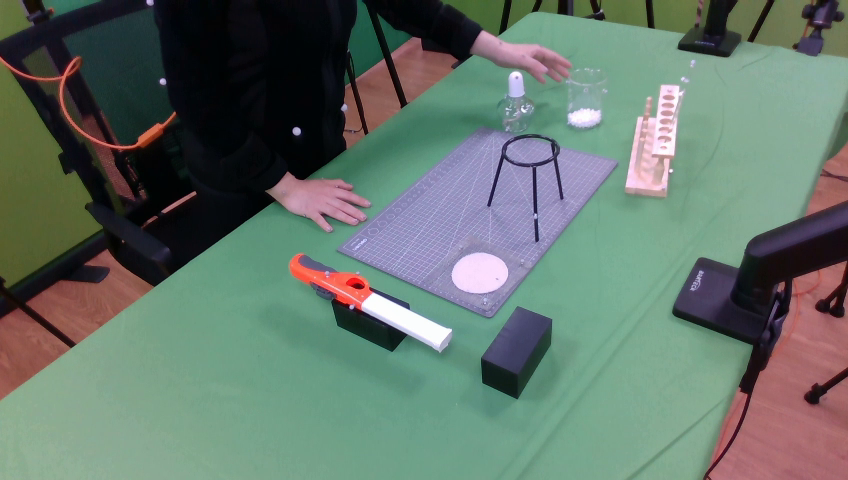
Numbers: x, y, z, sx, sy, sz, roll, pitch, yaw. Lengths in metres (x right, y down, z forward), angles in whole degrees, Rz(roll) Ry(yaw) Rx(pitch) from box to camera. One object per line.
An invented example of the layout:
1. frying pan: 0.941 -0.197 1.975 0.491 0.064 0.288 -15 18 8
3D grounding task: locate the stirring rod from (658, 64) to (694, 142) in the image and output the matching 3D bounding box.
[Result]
1. stirring rod: 0.409 -0.213 1.000 0.006 0.176 0.014 36 57 25

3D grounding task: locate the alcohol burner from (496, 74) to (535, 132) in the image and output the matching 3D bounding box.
1. alcohol burner: 0.184 -0.278 1.210 0.078 0.119 0.077 -3 42 3

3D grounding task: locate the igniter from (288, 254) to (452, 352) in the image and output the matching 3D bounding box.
1. igniter: -0.083 0.079 0.818 0.274 0.025 0.057 23 46 27

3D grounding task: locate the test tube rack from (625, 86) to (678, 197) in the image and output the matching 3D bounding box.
1. test tube rack: 0.412 -0.184 1.088 0.066 0.085 0.242 9 43 18

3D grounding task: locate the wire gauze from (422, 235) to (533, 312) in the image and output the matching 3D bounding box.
1. wire gauze: 0.081 0.049 0.914 0.120 0.011 0.125 26 52 32

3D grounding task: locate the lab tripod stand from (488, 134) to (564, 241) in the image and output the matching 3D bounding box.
1. lab tripod stand: 0.168 -0.092 0.972 0.148 0.132 0.147 -5 41 5

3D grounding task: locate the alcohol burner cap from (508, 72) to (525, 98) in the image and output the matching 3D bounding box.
1. alcohol burner cap: 0.181 -0.306 1.186 0.034 0.048 0.033 -6 39 6

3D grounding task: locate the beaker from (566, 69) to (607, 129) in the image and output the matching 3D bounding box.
1. beaker: 0.321 -0.279 1.202 0.073 0.101 0.084 11 43 20
